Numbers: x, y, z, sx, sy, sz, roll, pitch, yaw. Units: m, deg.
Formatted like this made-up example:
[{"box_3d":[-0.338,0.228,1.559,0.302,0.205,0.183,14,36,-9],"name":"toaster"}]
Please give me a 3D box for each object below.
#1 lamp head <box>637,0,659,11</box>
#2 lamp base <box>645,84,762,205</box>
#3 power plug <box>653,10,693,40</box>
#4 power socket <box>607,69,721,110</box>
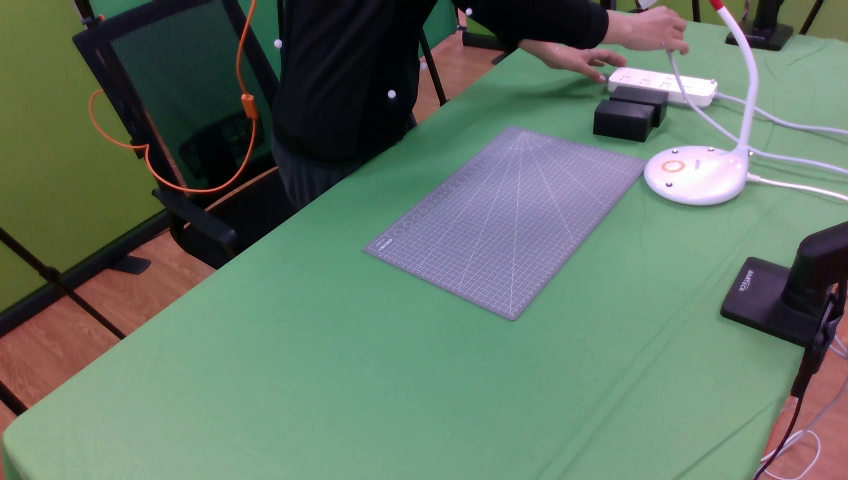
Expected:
[{"box_3d":[0.330,-0.391,0.827,0.122,0.113,0.112,-21,35,25],"name":"lamp head"},{"box_3d":[0.461,-0.170,0.975,0.179,0.181,0.160,2,41,11],"name":"lamp base"},{"box_3d":[0.474,-0.407,1.155,0.072,0.035,0.052,-19,9,-1],"name":"power plug"},{"box_3d":[0.493,-0.315,1.256,0.225,0.033,0.072,19,49,30],"name":"power socket"}]
